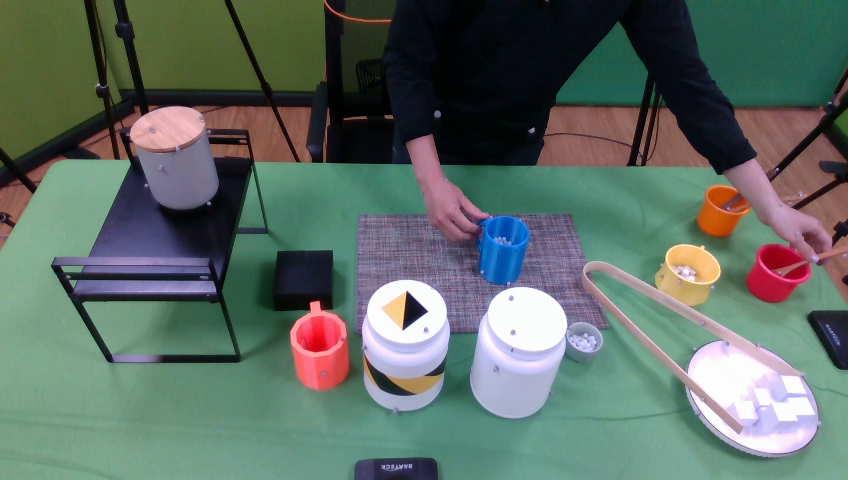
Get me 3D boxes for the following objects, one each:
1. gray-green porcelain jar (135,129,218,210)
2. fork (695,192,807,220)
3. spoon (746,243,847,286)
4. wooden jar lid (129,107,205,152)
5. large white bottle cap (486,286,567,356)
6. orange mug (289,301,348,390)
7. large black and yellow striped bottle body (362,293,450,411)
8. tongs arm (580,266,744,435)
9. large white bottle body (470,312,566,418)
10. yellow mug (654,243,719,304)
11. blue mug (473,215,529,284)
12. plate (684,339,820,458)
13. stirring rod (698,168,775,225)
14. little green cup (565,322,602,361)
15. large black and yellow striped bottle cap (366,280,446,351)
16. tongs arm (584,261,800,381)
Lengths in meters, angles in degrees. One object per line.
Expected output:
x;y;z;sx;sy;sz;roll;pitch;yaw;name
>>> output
-0.388;-0.120;0.960;0.106;0.127;0.105;2;46;-2;gray-green porcelain jar
0.655;-0.069;1.224;0.207;0.019;0.028;-17;33;45;fork
0.703;0.042;1.128;0.194;0.022;0.041;-29;33;30;spoon
-0.385;-0.163;0.915;0.108;0.021;0.107;2;47;-2;wooden jar lid
0.147;0.114;0.869;0.115;0.018;0.114;3;46;-3;large white bottle cap
-0.170;0.162;0.976;0.083;0.101;0.125;-7;52;-11;orange mug
-0.029;0.163;0.928;0.131;0.185;0.130;2;47;-2;large black and yellow striped bottle body
0.384;0.173;1.028;0.028;0.028;0.385;-25;46;-15;tongs arm
0.143;0.173;0.930;0.131;0.185;0.130;2;46;-2;large white bottle body
0.504;0.054;1.154;0.099;0.064;0.130;28;49;22;yellow mug
0.135;0.008;1.136;0.082;0.106;0.116;-32;56;-29;blue mug
0.523;0.256;0.982;0.208;0.039;0.206;2;46;-2;plate
0.644;-0.090;1.252;0.176;0.006;0.014;-40;54;17;stirring rod
0.270;0.176;1.039;0.061;0.039;0.061;2;46;-2;little green cup
-0.025;0.106;0.865;0.115;0.019;0.114;2;46;-1;large black and yellow striped bottle cap
0.452;0.137;1.064;0.051;0.027;0.382;-34;50;-27;tongs arm
